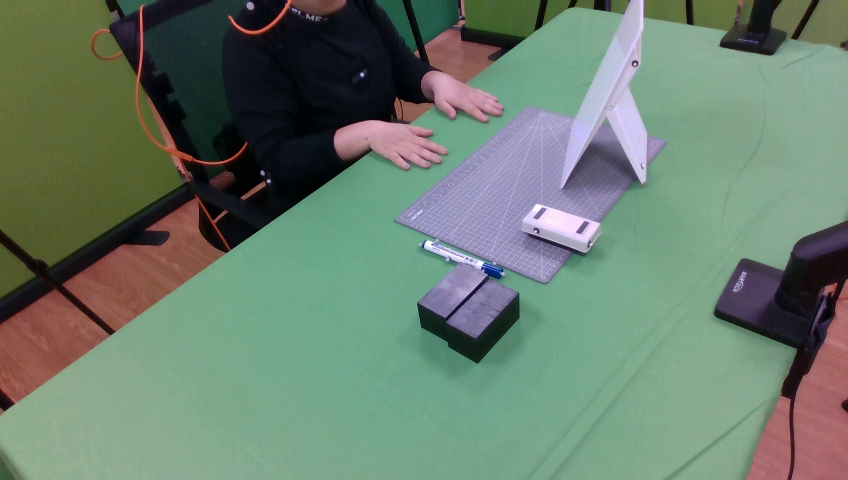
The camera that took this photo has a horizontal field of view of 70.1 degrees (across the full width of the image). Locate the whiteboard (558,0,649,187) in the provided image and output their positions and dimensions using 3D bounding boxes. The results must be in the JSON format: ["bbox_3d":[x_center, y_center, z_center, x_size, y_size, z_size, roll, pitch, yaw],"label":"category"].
[{"bbox_3d":[0.361,-0.238,1.026,0.144,0.306,0.217,20,44,3],"label":"whiteboard"}]

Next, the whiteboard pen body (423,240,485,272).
[{"bbox_3d":[0.057,0.027,0.942,0.139,0.017,0.017,21,48,30],"label":"whiteboard pen body"}]

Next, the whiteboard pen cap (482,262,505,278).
[{"bbox_3d":[0.104,0.044,0.912,0.033,0.018,0.018,21,48,29],"label":"whiteboard pen cap"}]

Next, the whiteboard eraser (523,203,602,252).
[{"bbox_3d":[0.215,-0.018,0.945,0.112,0.042,0.056,20,46,30],"label":"whiteboard eraser"}]
